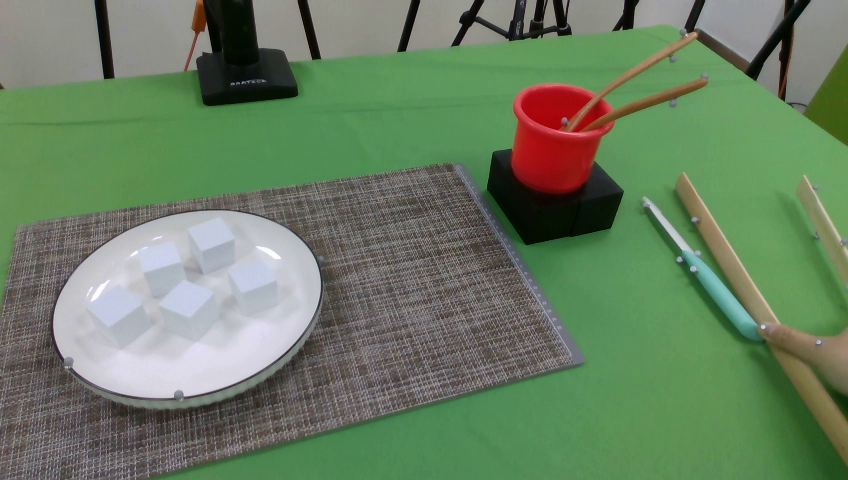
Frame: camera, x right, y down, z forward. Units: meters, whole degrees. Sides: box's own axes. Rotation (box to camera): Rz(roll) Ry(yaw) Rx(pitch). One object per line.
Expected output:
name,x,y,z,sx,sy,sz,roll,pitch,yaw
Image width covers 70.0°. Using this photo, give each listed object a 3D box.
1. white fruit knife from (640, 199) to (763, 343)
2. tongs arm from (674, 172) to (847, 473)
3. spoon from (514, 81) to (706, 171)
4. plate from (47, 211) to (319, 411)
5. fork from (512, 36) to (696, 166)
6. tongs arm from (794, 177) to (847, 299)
white fruit knife,0.271,0.022,0.614,0.027,0.016,0.205,17,33,-30
tongs arm,0.315,0.062,0.562,0.028,0.028,0.383,1,43,-9
spoon,0.163,-0.103,0.560,0.022,0.193,0.041,56,44,-9
plate,-0.192,0.056,0.506,0.208,0.039,0.205,3,43,-3
fork,0.175,-0.135,0.597,0.207,0.019,0.028,-38,23,12
tongs arm,0.392,0.065,0.563,0.051,0.027,0.381,7,44,1
